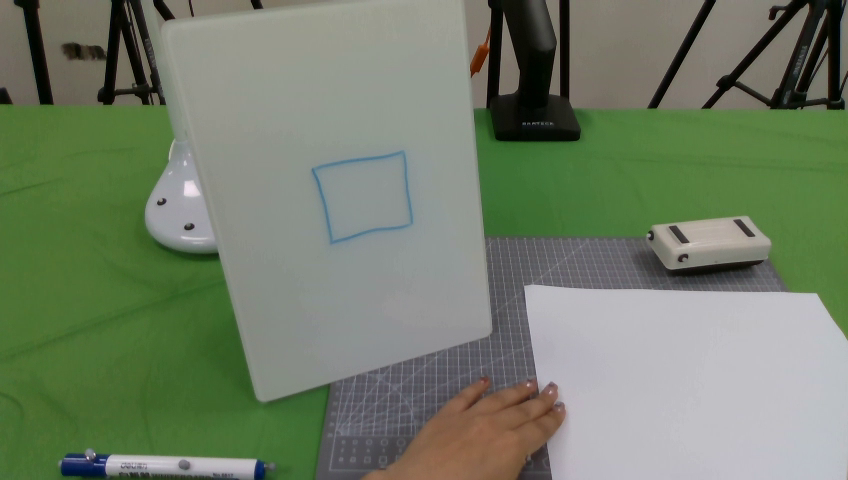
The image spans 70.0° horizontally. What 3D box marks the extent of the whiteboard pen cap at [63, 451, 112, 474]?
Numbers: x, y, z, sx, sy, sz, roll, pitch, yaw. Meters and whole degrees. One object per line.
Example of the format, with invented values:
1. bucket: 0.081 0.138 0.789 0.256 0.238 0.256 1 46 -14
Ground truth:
1. whiteboard pen cap: -0.246 0.165 0.447 0.033 0.018 0.018 2 39 -3

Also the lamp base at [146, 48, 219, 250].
1. lamp base: -0.246 -0.106 0.661 0.177 0.182 0.160 28 47 33

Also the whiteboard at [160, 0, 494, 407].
1. whiteboard: -0.075 -0.047 0.538 0.218 0.307 0.142 -13 22 -15

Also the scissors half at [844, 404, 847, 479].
1. scissors half: 0.215 0.127 0.291 0.013 0.175 0.040 -3 -2 1

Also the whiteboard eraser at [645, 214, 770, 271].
1. whiteboard eraser: 0.298 0.004 0.640 0.113 0.042 0.055 -5 41 -7

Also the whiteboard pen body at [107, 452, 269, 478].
1. whiteboard pen body: -0.187 0.166 0.449 0.141 0.017 0.017 2 39 -2

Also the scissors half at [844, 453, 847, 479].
1. scissors half: 0.214 0.126 0.311 0.013 0.176 0.040 -3 14 -5
